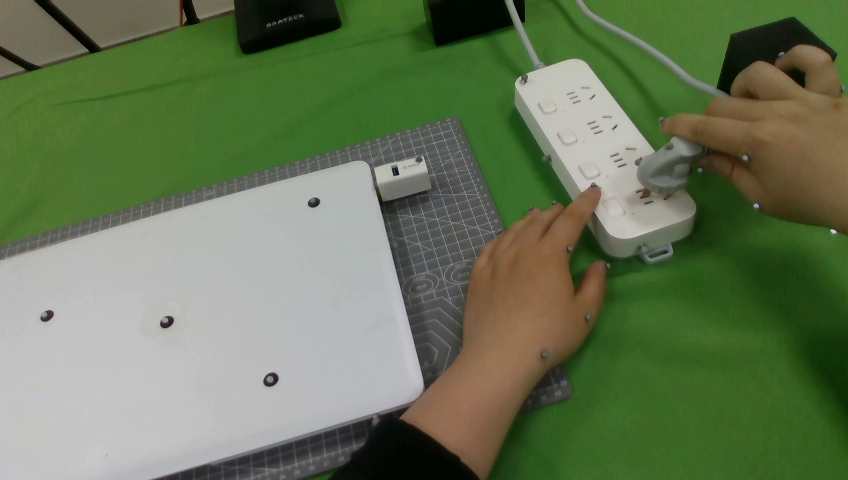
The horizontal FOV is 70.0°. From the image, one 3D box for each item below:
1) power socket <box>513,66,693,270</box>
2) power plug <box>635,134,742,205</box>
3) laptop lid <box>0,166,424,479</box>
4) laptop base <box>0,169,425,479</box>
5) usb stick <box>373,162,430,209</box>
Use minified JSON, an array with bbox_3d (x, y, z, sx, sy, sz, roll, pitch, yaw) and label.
[{"bbox_3d":[0.143,-0.071,0.512,0.072,0.033,0.224,-18,52,-4],"label":"power socket"},{"bbox_3d":[0.191,-0.046,0.438,0.072,0.053,0.035,-2,54,2],"label":"power plug"},{"bbox_3d":[-0.193,0.070,0.463,0.357,0.013,0.239,-15,54,0],"label":"laptop lid"},{"bbox_3d":[-0.191,0.075,0.474,0.354,0.023,0.233,-16,55,-2],"label":"laptop base"},{"bbox_3d":[-0.026,-0.045,0.519,0.059,0.027,0.021,-17,51,2],"label":"usb stick"}]
